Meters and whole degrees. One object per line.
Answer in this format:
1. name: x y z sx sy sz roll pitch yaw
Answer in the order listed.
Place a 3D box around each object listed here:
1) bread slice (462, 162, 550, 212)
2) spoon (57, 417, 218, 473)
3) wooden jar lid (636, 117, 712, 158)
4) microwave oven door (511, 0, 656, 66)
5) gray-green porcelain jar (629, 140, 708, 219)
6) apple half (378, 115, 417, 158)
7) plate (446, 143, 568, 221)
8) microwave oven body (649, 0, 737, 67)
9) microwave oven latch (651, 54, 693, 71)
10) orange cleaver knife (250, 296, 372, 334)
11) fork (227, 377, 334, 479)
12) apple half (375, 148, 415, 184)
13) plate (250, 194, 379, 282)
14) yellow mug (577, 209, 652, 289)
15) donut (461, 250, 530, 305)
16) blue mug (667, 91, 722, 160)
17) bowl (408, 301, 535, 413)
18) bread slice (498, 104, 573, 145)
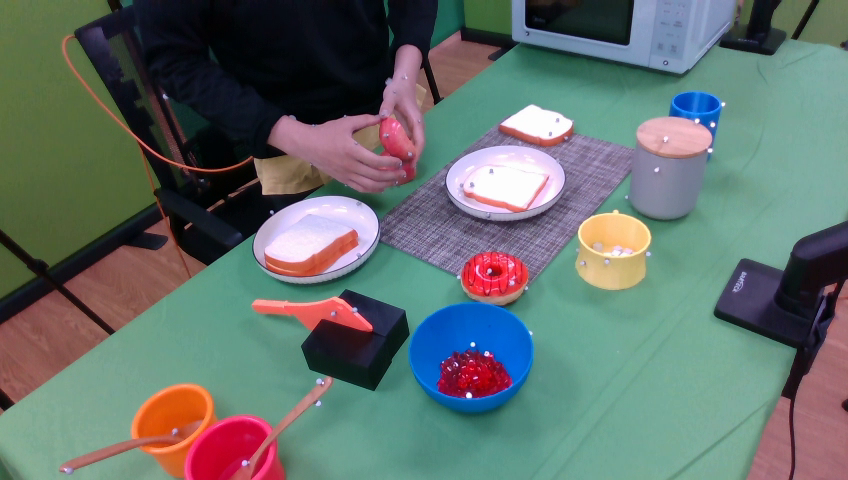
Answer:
1. bread slice: 0.135 -0.094 1.045 0.133 0.018 0.107 16 45 23
2. spoon: -0.304 0.221 0.661 0.041 0.195 0.021 19 92 27
3. wooden jar lid: 0.377 -0.151 0.917 0.108 0.021 0.108 -2 41 3
4. microwave oven door: 0.351 -0.539 1.349 0.353 0.245 0.039 24 50 31
5. gray-green porcelain jar: 0.383 -0.105 0.958 0.106 0.127 0.105 -4 41 4
6. apple half: -0.052 -0.157 0.958 0.033 0.082 0.080 -42 51 -20
7. plate: 0.142 -0.096 1.045 0.207 0.039 0.206 -4 41 4
8. microwave oven body: 0.475 -0.602 1.411 0.438 0.261 0.327 23 50 32
9. microwave oven latch: 0.532 -0.386 1.301 0.078 0.029 0.030 27 52 34
10. orange cleaver knife: -0.158 0.103 0.828 0.210 0.078 0.012 -4 43 39
11. fork: -0.162 0.216 0.647 0.207 0.019 0.028 -49 41 16
12. apple half: -0.055 -0.149 1.129 0.074 0.053 0.080 -2 40 5
13. plate: -0.174 0.000 0.984 0.209 0.038 0.208 -3 39 3
14. yellow mug: 0.279 0.004 0.893 0.099 0.064 0.130 5 41 15
15. donut: 0.103 0.053 0.872 0.099 0.048 0.098 -4 40 4
16. blue mug: 0.474 -0.207 1.079 0.082 0.106 0.116 4 42 13
17. bowl: 0.060 0.156 0.739 0.151 0.077 0.150 -4 40 4
18. bread slice: 0.231 -0.231 1.205 0.105 0.019 0.130 -36 47 -29
